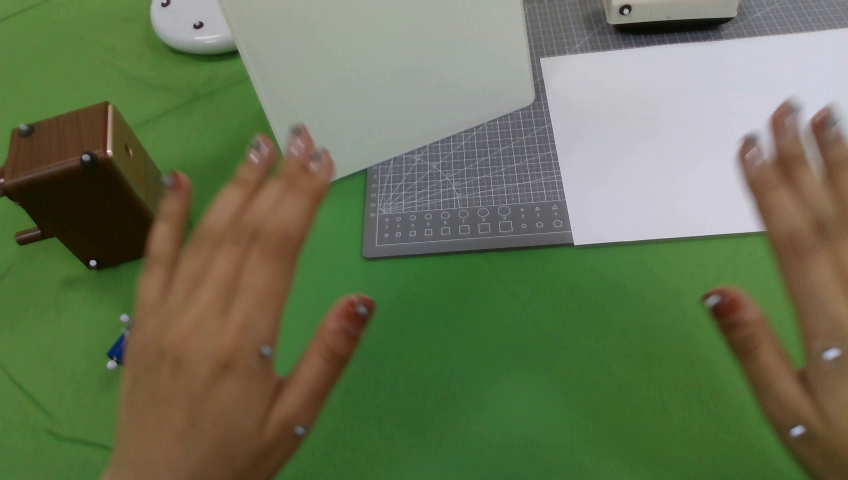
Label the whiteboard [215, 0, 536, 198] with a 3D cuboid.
[{"bbox_3d":[-0.059,-0.228,0.472,0.217,0.308,0.142,-22,35,-7],"label":"whiteboard"}]

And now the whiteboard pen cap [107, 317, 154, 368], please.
[{"bbox_3d":[-0.200,0.069,0.416,0.018,0.018,0.033,15,55,18],"label":"whiteboard pen cap"}]

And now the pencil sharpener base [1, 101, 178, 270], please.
[{"bbox_3d":[-0.240,-0.035,0.444,0.077,0.108,0.060,-18,55,-5],"label":"pencil sharpener base"}]

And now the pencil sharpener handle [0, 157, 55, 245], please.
[{"bbox_3d":[-0.289,-0.025,0.428,0.030,0.068,0.035,-18,42,-5],"label":"pencil sharpener handle"}]

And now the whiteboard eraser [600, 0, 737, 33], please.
[{"bbox_3d":[0.220,-0.219,0.554,0.112,0.042,0.055,-1,56,6],"label":"whiteboard eraser"}]

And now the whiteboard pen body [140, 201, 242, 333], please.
[{"bbox_3d":[-0.177,0.026,0.448,0.017,0.017,0.140,15,56,17],"label":"whiteboard pen body"}]

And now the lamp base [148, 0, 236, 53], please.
[{"bbox_3d":[-0.229,-0.303,0.587,0.177,0.182,0.160,32,64,28],"label":"lamp base"}]
